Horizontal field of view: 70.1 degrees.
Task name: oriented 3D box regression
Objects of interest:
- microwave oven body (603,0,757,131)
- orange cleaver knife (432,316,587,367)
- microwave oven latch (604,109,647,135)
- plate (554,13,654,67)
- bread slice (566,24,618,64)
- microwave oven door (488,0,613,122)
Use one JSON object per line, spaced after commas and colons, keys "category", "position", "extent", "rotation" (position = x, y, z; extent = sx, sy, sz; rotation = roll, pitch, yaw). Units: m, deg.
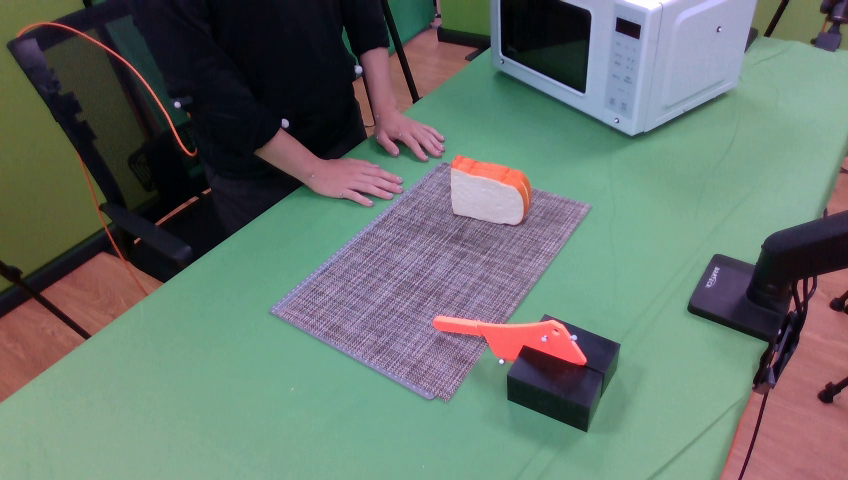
{"category": "microwave oven body", "position": [0.396, -0.448, 1.248], "extent": [0.327, 0.261, 0.437], "rotation": [-27, 44, -21]}
{"category": "orange cleaver knife", "position": [0.101, 0.127, 0.761], "extent": [0.210, 0.077, 0.012], "rotation": [-1, 34, 40]}
{"category": "microwave oven latch", "position": [0.378, -0.225, 1.139], "extent": [0.030, 0.029, 0.078], "rotation": [-26, 43, -20]}
{"category": "plate", "position": [0.386, -0.428, 1.308], "extent": [0.207, 0.039, 0.206], "rotation": [-4, 44, 4]}
{"category": "bread slice", "position": [0.362, -0.429, 1.322], "extent": [0.107, 0.018, 0.134], "rotation": [1, 51, 9]}
{"category": "microwave oven door", "position": [0.251, -0.412, 1.219], "extent": [0.039, 0.245, 0.352], "rotation": [-27, 44, -21]}
